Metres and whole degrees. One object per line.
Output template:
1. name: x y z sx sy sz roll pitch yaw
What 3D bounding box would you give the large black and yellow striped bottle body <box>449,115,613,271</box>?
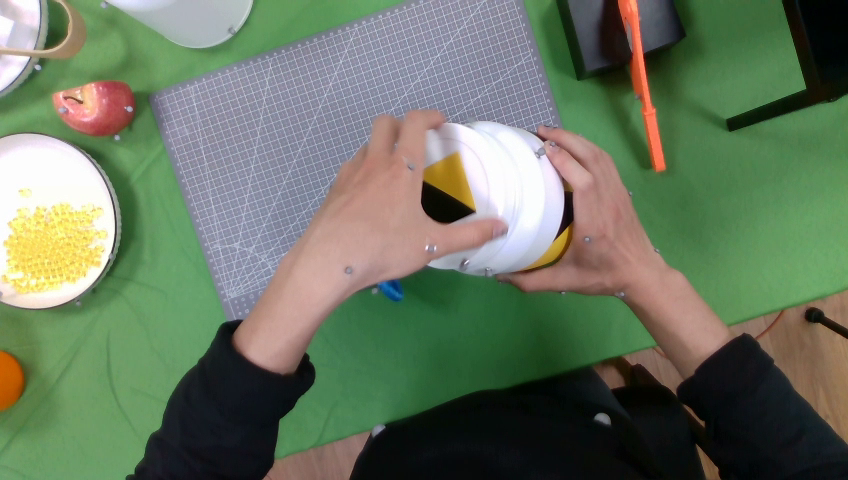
1. large black and yellow striped bottle body: 0.073 -0.040 0.541 0.130 0.185 0.131 2 93 41

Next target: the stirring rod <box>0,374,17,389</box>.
1. stirring rod: -0.567 0.184 0.686 0.177 0.006 0.014 -12 81 -37

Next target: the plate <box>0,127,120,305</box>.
1. plate: -0.459 -0.028 0.719 0.209 0.038 0.209 0 94 3

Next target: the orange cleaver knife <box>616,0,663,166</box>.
1. orange cleaver knife: 0.230 -0.182 0.655 0.012 0.076 0.213 -16 119 12

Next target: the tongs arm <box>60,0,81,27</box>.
1. tongs arm: -0.554 -0.328 0.673 0.387 0.028 0.028 24 88 3

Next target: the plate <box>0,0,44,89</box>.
1. plate: -0.540 -0.268 0.707 0.207 0.039 0.208 0 94 3

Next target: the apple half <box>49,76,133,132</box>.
1. apple half: -0.372 -0.150 0.690 0.081 0.074 0.053 -14 97 0

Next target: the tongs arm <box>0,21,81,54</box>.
1. tongs arm: -0.576 -0.247 0.678 0.384 0.026 0.051 10 91 4

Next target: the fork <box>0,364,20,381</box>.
1. fork: -0.581 0.168 0.683 0.208 0.018 0.028 -4 93 -40

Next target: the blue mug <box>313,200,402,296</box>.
1. blue mug: -0.061 0.011 0.668 0.082 0.106 0.116 -34 92 4

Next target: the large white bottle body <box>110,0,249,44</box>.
1. large white bottle body: -0.270 -0.290 0.619 0.130 0.184 0.130 0 93 3

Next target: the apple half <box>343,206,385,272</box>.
1. apple half: -0.059 0.002 0.661 0.032 0.081 0.081 13 94 10

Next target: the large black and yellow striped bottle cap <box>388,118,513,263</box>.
1. large black and yellow striped bottle cap: 0.017 -0.038 0.478 0.114 0.019 0.115 1 93 39
